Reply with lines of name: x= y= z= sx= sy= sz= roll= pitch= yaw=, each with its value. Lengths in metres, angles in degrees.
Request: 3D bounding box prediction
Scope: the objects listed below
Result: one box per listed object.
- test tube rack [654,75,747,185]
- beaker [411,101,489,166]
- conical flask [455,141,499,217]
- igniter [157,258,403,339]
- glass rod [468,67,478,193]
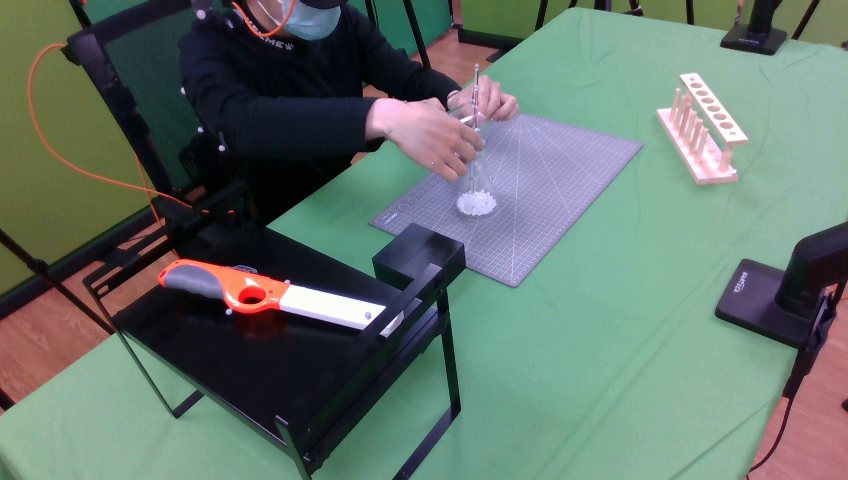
test tube rack: x=0.491 y=-0.205 z=1.092 sx=0.067 sy=0.085 sz=0.241 roll=-5 pitch=40 yaw=3
beaker: x=0.038 y=-0.157 z=0.917 sx=0.101 sy=0.084 sz=0.073 roll=-28 pitch=42 yaw=-30
conical flask: x=0.085 y=-0.103 z=0.999 sx=0.075 sy=0.122 sz=0.075 roll=-4 pitch=41 yaw=4
igniter: x=-0.157 y=0.059 z=0.638 sx=0.275 sy=0.025 sz=0.057 roll=11 pitch=43 yaw=14
glass rod: x=0.078 y=-0.172 z=0.965 sx=0.008 sy=0.200 sz=0.008 roll=2 pitch=18 yaw=0
